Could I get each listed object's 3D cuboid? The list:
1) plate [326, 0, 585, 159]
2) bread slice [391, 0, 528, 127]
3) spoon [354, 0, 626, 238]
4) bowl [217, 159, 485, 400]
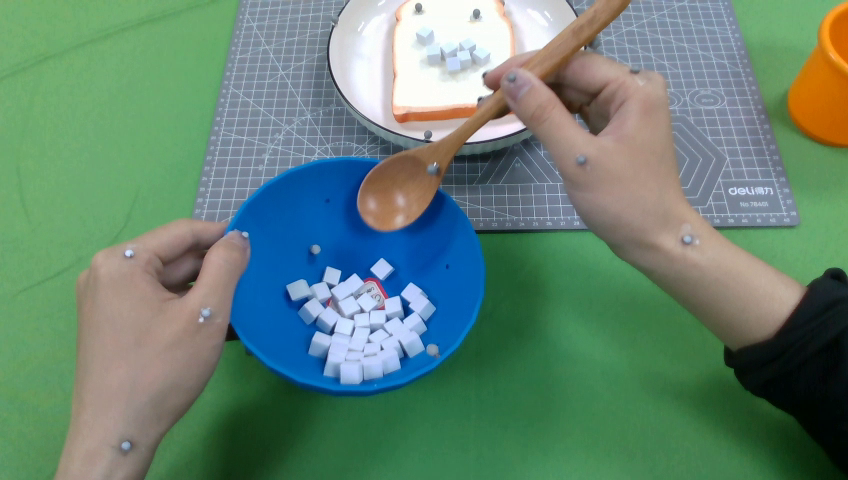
[{"bbox_3d":[0.024,-0.148,0.503,0.209,0.038,0.207,-1,62,3],"label":"plate"},{"bbox_3d":[0.021,-0.152,0.509,0.107,0.018,0.133,-7,63,0],"label":"bread slice"},{"bbox_3d":[0.030,-0.063,0.334,0.041,0.194,0.021,52,31,0],"label":"spoon"},{"bbox_3d":[-0.044,0.033,0.374,0.152,0.077,0.150,5,59,-7],"label":"bowl"}]
